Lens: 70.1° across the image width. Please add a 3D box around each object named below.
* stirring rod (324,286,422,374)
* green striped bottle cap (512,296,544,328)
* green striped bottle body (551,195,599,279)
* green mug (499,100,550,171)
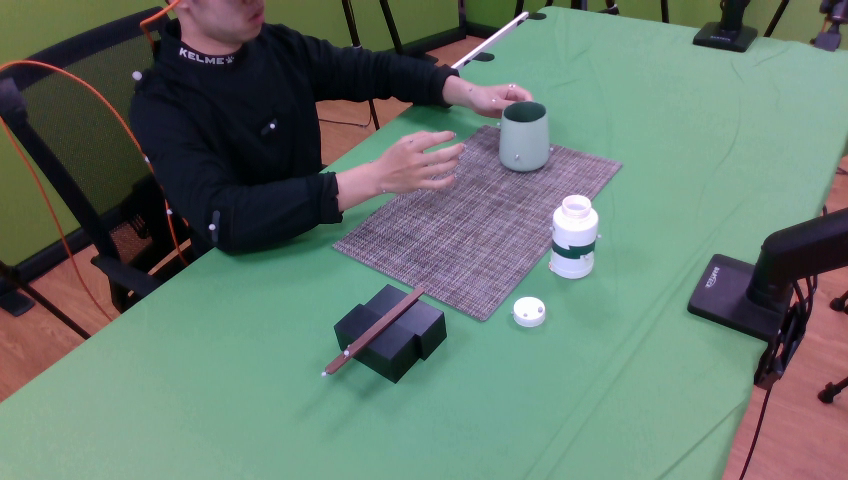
[{"bbox_3d":[-0.062,0.113,0.781,0.014,0.006,0.177,25,50,33],"label":"stirring rod"},{"bbox_3d":[0.144,0.099,0.837,0.044,0.020,0.044,-1,43,2],"label":"green striped bottle cap"},{"bbox_3d":[0.217,-0.006,0.870,0.063,0.120,0.063,-4,41,4],"label":"green striped bottle body"},{"bbox_3d":[0.183,-0.197,1.101,0.092,0.105,0.125,-1,41,8],"label":"green mug"}]
